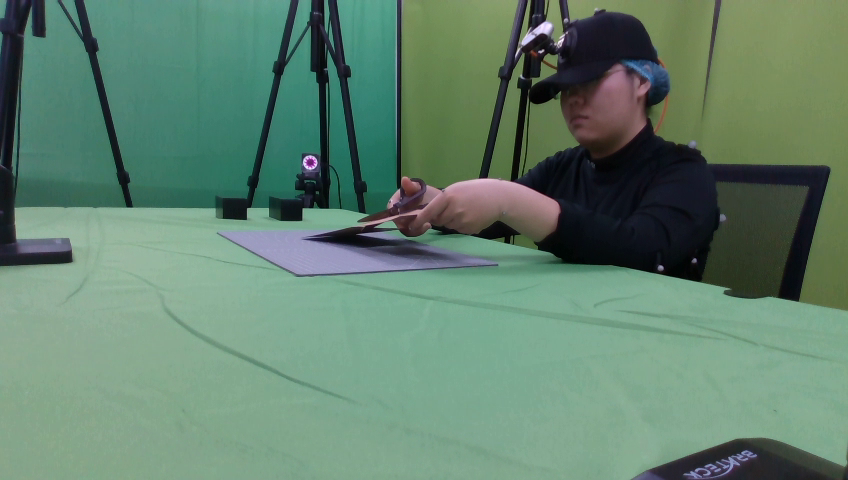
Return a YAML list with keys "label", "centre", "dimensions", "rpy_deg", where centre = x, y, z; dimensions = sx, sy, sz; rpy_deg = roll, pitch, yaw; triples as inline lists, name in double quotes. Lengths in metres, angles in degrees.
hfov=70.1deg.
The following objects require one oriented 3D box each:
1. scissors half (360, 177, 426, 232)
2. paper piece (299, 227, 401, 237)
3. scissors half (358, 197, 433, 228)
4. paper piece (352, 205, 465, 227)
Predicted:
- label: "scissors half"
  centre: [-0.053, -0.060, 1.022]
  dimensions: [0.013, 0.040, 0.175]
  rpy_deg: [-17, 21, 47]
- label: "paper piece"
  centre: [-0.124, -0.016, 1.051]
  dimensions: [0.135, 0.004, 0.136]
  rpy_deg: [-8, -3, 40]
- label: "scissors half"
  centre: [-0.045, -0.041, 1.026]
  dimensions: [0.176, 0.040, 0.012]
  rpy_deg: [-16, 5, -44]
- label: "paper piece"
  centre: [-0.023, -0.039, 0.944]
  dimensions: [0.136, 0.008, 0.137]
  rpy_deg: [-19, 10, -35]
